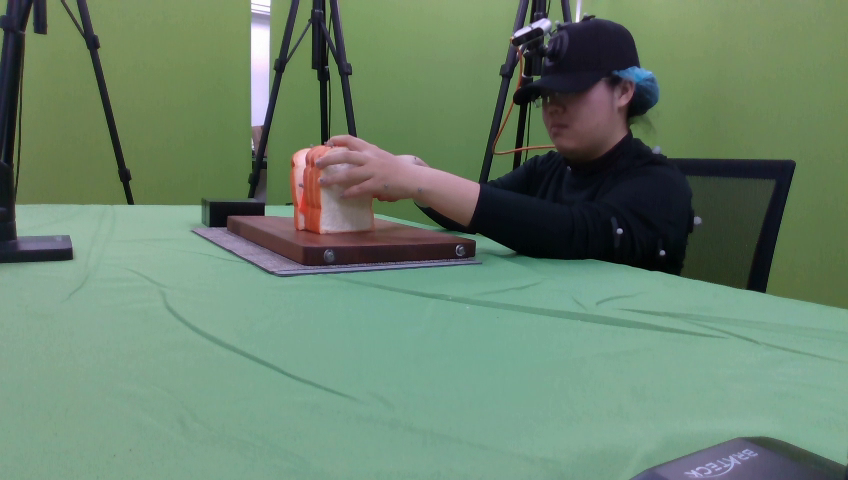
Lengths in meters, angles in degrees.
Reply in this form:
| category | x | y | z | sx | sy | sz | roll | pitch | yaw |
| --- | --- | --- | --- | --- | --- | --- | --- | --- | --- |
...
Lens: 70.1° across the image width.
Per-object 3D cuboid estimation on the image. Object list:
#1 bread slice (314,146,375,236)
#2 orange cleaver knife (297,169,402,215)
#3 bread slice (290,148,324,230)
| category | x | y | z | sx | sy | sz | roll | pitch | yaw |
| --- | --- | --- | --- | --- | --- | --- | --- | --- | --- |
| bread slice | -0.123 | -0.074 | 0.916 | 0.107 | 0.134 | 0.018 | -8 | 8 | -44 |
| orange cleaver knife | -0.116 | -0.075 | 0.986 | 0.212 | 0.077 | 0.012 | -6 | 7 | -45 |
| bread slice | -0.166 | -0.081 | 0.959 | 0.019 | 0.131 | 0.105 | -12 | -7 | 44 |
